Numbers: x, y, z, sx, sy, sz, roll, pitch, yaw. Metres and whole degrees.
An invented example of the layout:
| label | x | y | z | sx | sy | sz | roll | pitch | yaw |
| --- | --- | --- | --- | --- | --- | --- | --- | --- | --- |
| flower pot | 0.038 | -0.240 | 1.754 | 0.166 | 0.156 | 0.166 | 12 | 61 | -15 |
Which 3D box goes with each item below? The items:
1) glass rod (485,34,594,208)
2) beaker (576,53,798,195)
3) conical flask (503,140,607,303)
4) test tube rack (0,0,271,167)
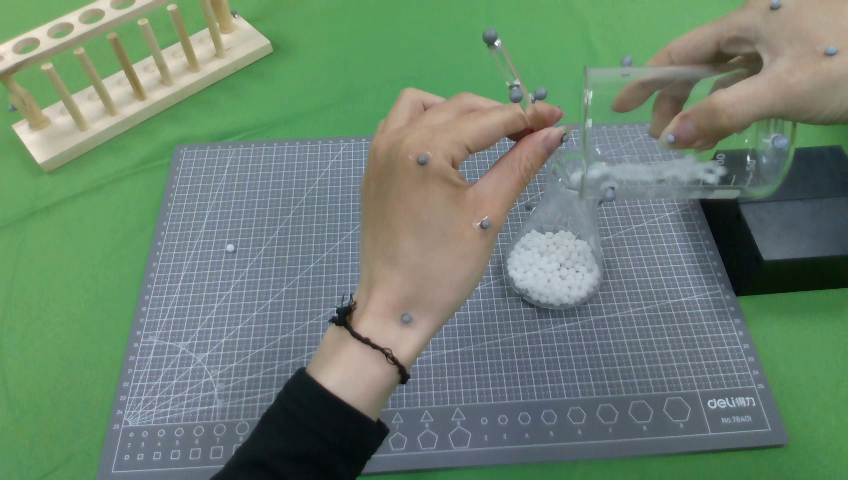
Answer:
| label | x | y | z | sx | sy | sz | roll | pitch | yaw |
| --- | --- | --- | --- | --- | --- | --- | --- | --- | --- |
| glass rod | 0.071 | -0.053 | 0.332 | 0.008 | 0.201 | 0.008 | -9 | 69 | 24 |
| beaker | 0.134 | -0.059 | 0.326 | 0.100 | 0.084 | 0.073 | 2 | 69 | 12 |
| conical flask | 0.096 | -0.014 | 0.419 | 0.075 | 0.123 | 0.074 | -1 | 56 | 2 |
| test tube rack | -0.270 | -0.176 | 0.561 | 0.242 | 0.086 | 0.066 | -37 | 62 | -21 |
